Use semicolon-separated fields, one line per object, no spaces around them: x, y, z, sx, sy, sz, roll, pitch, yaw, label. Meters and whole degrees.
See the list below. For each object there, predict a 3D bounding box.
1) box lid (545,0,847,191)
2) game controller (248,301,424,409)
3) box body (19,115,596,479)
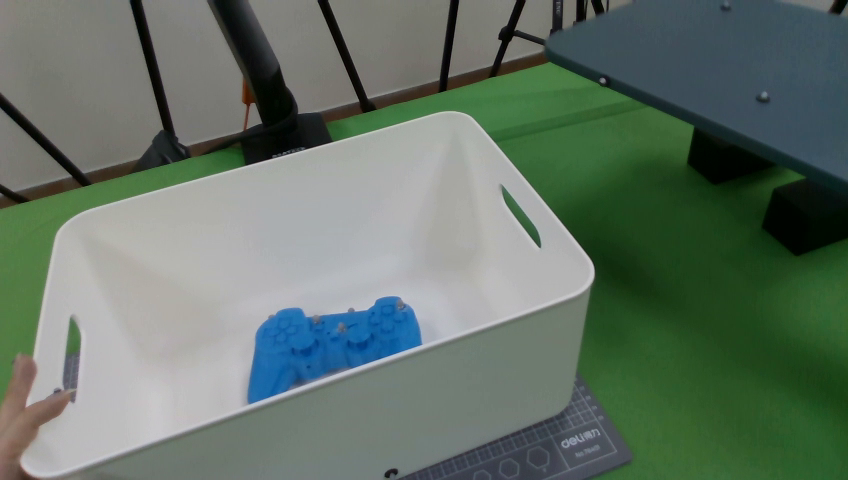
0.317;-0.146;0.527;0.263;0.015;0.367;-31;48;-27;box lid
-0.076;0.097;0.534;0.155;0.052;0.096;-6;37;2;game controller
-0.080;0.064;0.495;0.364;0.162;0.251;-17;42;-10;box body
